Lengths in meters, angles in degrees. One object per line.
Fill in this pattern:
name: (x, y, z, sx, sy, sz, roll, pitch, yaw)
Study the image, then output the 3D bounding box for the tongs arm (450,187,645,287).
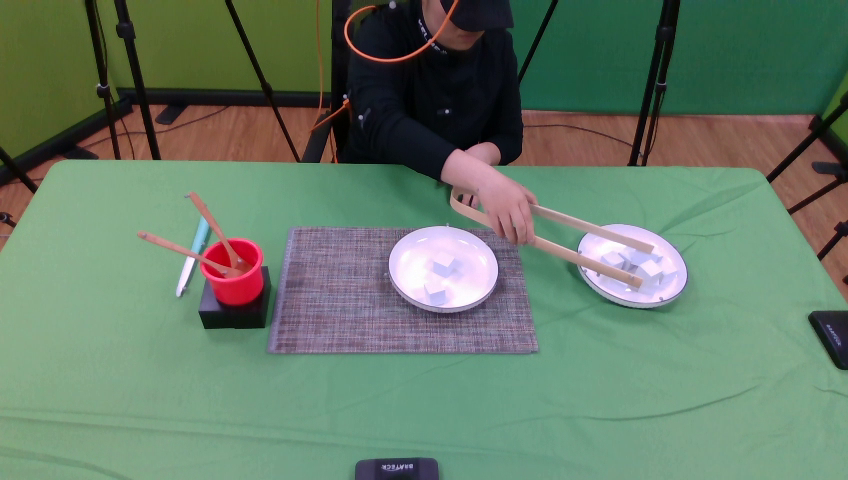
tongs arm: (0.217, -0.010, 1.114, 0.384, 0.026, 0.050, 22, 51, 15)

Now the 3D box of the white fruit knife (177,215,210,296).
white fruit knife: (-0.435, 0.025, 1.148, 0.027, 0.016, 0.206, -17, 45, 18)

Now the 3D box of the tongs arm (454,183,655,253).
tongs arm: (0.240, -0.043, 1.147, 0.387, 0.028, 0.028, 19, 54, 12)

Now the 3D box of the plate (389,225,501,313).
plate: (0.038, 0.057, 1.129, 0.208, 0.039, 0.206, 2, 46, -2)

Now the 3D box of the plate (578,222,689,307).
plate: (0.396, 0.050, 1.165, 0.209, 0.038, 0.208, 2, 47, -2)

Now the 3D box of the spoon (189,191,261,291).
spoon: (-0.333, 0.001, 1.011, 0.041, 0.194, 0.021, -34, 15, -25)

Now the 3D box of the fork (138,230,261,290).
fork: (-0.359, 0.032, 0.981, 0.208, 0.018, 0.028, 31, 60, -30)
